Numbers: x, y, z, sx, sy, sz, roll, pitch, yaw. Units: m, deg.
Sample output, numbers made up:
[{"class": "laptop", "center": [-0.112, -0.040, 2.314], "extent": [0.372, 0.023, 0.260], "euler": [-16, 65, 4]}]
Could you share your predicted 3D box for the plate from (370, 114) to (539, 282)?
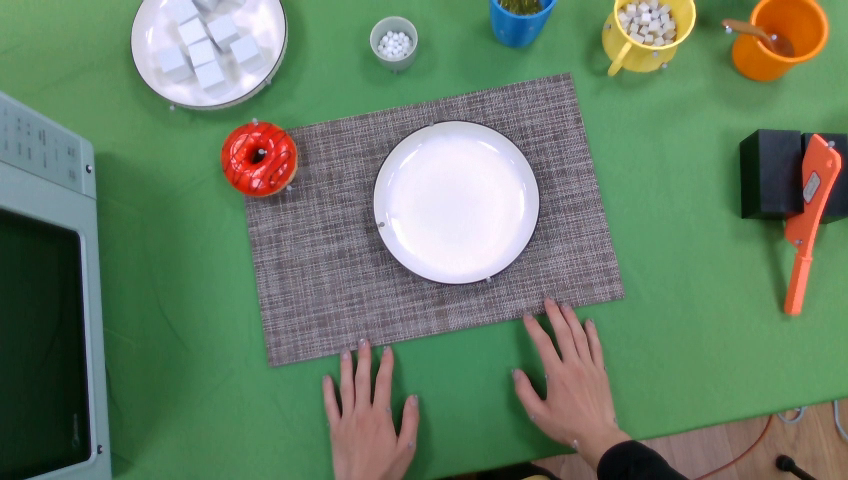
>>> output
[{"class": "plate", "center": [0.037, -0.051, 0.754], "extent": [0.209, 0.038, 0.208], "euler": [0, 81, 3]}]

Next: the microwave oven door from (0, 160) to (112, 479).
[{"class": "microwave oven door", "center": [-0.418, 0.099, 0.633], "extent": [0.039, 0.244, 0.354], "euler": [-9, 81, 1]}]

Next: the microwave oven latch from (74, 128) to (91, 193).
[{"class": "microwave oven latch", "center": [-0.441, -0.099, 0.766], "extent": [0.030, 0.029, 0.079], "euler": [-6, 82, 1]}]

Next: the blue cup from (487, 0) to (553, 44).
[{"class": "blue cup", "center": [0.117, -0.296, 0.760], "extent": [0.092, 0.100, 0.092], "euler": [0, 83, 2]}]

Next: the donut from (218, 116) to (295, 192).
[{"class": "donut", "center": [-0.213, -0.109, 0.770], "extent": [0.099, 0.048, 0.098], "euler": [0, 83, 4]}]

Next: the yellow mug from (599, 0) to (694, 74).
[{"class": "yellow mug", "center": [0.270, -0.265, 0.766], "extent": [0.099, 0.064, 0.131], "euler": [37, 86, 7]}]

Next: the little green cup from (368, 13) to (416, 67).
[{"class": "little green cup", "center": [-0.040, -0.259, 0.792], "extent": [0.061, 0.039, 0.061], "euler": [0, 81, 3]}]

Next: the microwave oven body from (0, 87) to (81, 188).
[{"class": "microwave oven body", "center": [-0.568, 0.079, 0.647], "extent": [0.326, 0.261, 0.440], "euler": [-8, 82, 1]}]

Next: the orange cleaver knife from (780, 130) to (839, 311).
[{"class": "orange cleaver knife", "center": [0.444, -0.020, 0.714], "extent": [0.012, 0.077, 0.212], "euler": [4, 111, 5]}]

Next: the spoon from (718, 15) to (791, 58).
[{"class": "spoon", "center": [0.394, -0.246, 0.717], "extent": [0.021, 0.195, 0.041], "euler": [-23, 76, 44]}]

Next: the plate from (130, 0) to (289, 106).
[{"class": "plate", "center": [-0.280, -0.273, 0.804], "extent": [0.207, 0.039, 0.207], "euler": [0, 81, 2]}]
